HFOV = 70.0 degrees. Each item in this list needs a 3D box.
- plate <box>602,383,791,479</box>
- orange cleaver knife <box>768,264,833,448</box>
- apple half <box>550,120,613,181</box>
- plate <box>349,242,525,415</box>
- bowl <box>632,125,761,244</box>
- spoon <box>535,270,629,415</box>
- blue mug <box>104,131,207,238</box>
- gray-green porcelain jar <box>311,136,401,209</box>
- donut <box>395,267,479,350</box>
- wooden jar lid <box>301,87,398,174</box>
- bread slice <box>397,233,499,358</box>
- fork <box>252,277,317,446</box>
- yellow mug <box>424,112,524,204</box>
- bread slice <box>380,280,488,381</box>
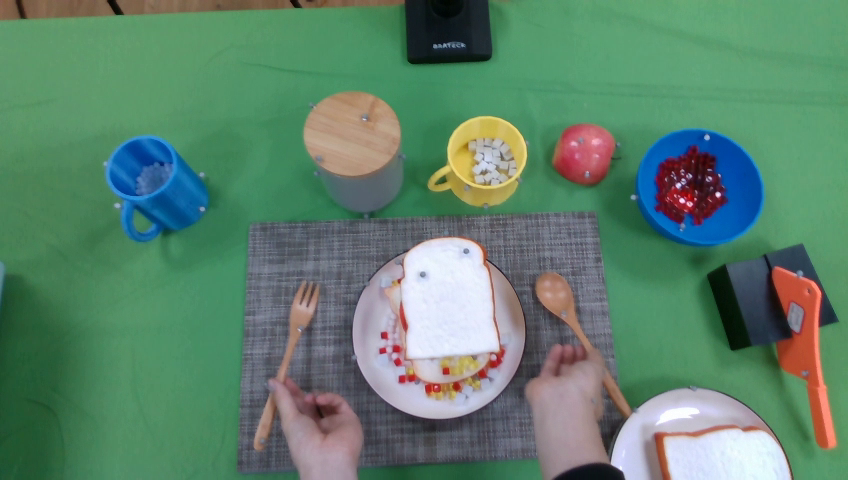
[{"bbox_3d":[0.302,0.268,0.683,0.209,0.038,0.208,0,73,0],"label":"plate"},{"bbox_3d":[0.433,0.132,0.701,0.012,0.077,0.211,-12,95,-11],"label":"orange cleaver knife"},{"bbox_3d":[0.207,-0.123,0.791,0.074,0.053,0.080,19,75,8],"label":"apple half"},{"bbox_3d":[0.015,0.103,0.725,0.208,0.039,0.206,0,73,0],"label":"plate"},{"bbox_3d":[0.327,-0.058,0.759,0.151,0.077,0.150,0,74,0],"label":"bowl"},{"bbox_3d":[0.185,0.117,0.712,0.041,0.022,0.191,-20,57,-9],"label":"spoon"},{"bbox_3d":[-0.330,-0.058,0.738,0.082,0.106,0.116,18,74,5],"label":"blue mug"},{"bbox_3d":[-0.082,-0.102,0.743,0.106,0.127,0.105,0,73,0],"label":"gray-green porcelain jar"},{"bbox_3d":[0.016,0.080,0.703,0.099,0.048,0.098,0,73,0],"label":"donut"},{"bbox_3d":[-0.083,-0.121,0.682,0.108,0.021,0.107,1,71,-2],"label":"wooden jar lid"},{"bbox_3d":[0.021,0.059,0.645,0.105,0.019,0.131,-6,87,4],"label":"bread slice"},{"bbox_3d":[-0.162,0.135,0.703,0.028,0.019,0.205,22,55,-15],"label":"fork"},{"bbox_3d":[0.061,-0.098,0.775,0.131,0.064,0.099,-24,75,-6],"label":"yellow mug"},{"bbox_3d":[0.020,0.100,0.726,0.107,0.018,0.133,-19,77,-5],"label":"bread slice"}]
